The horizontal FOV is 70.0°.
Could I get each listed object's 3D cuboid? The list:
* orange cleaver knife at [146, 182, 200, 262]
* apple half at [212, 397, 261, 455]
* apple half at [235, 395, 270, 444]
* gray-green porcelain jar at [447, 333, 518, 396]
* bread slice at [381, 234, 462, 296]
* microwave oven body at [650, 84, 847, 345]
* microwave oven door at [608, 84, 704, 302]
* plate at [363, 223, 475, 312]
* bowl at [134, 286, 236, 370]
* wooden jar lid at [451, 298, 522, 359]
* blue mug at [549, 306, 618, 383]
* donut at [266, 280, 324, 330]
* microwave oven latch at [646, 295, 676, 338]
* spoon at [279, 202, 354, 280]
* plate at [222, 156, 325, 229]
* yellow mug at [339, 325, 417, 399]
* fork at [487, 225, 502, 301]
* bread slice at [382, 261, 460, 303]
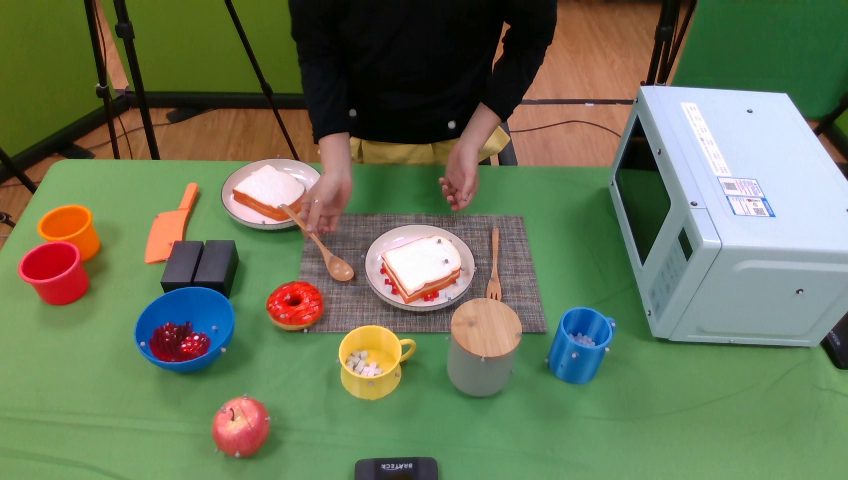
[{"bbox_3d":[-0.494,-0.039,1.198,0.077,0.012,0.210,-3,48,2],"label":"orange cleaver knife"},{"bbox_3d":[-0.276,0.277,0.877,0.053,0.075,0.080,-29,58,-21],"label":"apple half"},{"bbox_3d":[-0.245,0.260,0.893,0.033,0.082,0.081,-29,55,-22],"label":"apple half"},{"bbox_3d":[0.091,0.178,0.960,0.106,0.127,0.105,2,46,-2],"label":"gray-green porcelain jar"},{"bbox_3d":[0.001,0.038,1.107,0.134,0.018,0.106,-25,56,-23],"label":"bread slice"},{"bbox_3d":[0.569,-0.054,1.116,0.326,0.261,0.439,2,46,-1],"label":"microwave oven body"},{"bbox_3d":[0.424,-0.096,1.138,0.039,0.245,0.353,3,46,-1],"label":"microwave oven door"},{"bbox_3d":[-0.009,0.054,1.126,0.208,0.039,0.206,2,46,-2],"label":"plate"},{"bbox_3d":[-0.377,0.156,0.981,0.151,0.077,0.150,2,46,-2],"label":"bowl"},{"bbox_3d":[0.093,0.135,0.914,0.108,0.021,0.107,2,48,-3],"label":"wooden jar lid"},{"bbox_3d":[0.269,0.167,0.997,0.116,0.106,0.082,-19,50,-21],"label":"blue mug"},{"bbox_3d":[-0.223,0.112,1.051,0.099,0.048,0.098,2,46,-2],"label":"donut"},{"bbox_3d":[0.412,0.133,1.060,0.030,0.029,0.078,4,46,1],"label":"microwave oven latch"},{"bbox_3d":[-0.202,-0.001,1.125,0.193,0.021,0.041,49,59,0],"label":"spoon"},{"bbox_3d":[-0.308,-0.094,1.251,0.209,0.038,0.208,2,47,-2],"label":"plate"},{"bbox_3d":[-0.072,0.191,0.978,0.131,0.064,0.099,-17,50,-20],"label":"yellow mug"},{"bbox_3d":[0.137,0.043,1.160,0.028,0.019,0.206,0,48,9],"label":"fork"},{"bbox_3d":[0.000,0.055,1.129,0.131,0.019,0.104,-21,51,-21],"label":"bread slice"}]
